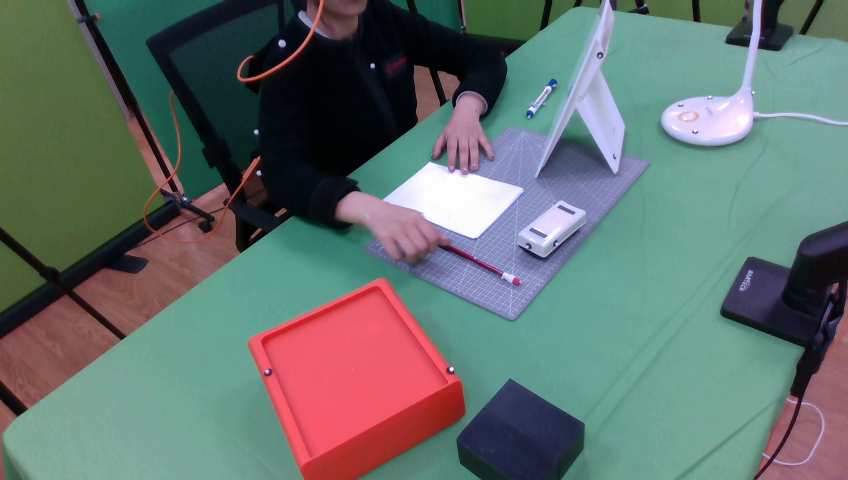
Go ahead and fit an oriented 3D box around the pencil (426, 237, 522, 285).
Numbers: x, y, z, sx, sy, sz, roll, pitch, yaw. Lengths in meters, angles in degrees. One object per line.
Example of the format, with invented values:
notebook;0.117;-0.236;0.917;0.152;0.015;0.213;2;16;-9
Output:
pencil;0.072;0.029;0.941;0.192;0.012;0.012;27;52;37

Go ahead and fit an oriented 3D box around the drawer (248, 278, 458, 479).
drawer;-0.092;0.167;0.756;0.195;0.073;0.210;-24;43;-18

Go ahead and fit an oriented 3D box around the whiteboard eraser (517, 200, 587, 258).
whiteboard eraser;0.201;-0.016;0.943;0.113;0.042;0.055;-37;46;-29

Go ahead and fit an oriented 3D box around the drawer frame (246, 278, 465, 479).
drawer frame;-0.088;0.168;0.752;0.202;0.083;0.211;-24;43;-18

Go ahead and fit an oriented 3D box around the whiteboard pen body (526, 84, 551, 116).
whiteboard pen body;0.251;-0.305;1.298;0.017;0.017;0.141;15;45;26

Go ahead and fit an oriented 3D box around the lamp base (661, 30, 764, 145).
lamp base;0.535;-0.287;1.096;0.179;0.181;0.159;-10;40;-4

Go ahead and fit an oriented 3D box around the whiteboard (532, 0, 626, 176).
whiteboard;0.321;-0.258;1.050;0.144;0.306;0.217;22;45;5

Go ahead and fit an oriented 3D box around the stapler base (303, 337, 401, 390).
stapler base;-0.096;0.159;0.812;0.131;0.024;0.041;-17;44;-17

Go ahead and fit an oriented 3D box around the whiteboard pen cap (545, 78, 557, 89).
whiteboard pen cap;0.280;-0.344;1.335;0.018;0.018;0.033;15;45;26

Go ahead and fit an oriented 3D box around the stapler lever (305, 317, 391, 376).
stapler lever;-0.099;0.137;0.789;0.118;0.040;0.026;-22;46;-12
